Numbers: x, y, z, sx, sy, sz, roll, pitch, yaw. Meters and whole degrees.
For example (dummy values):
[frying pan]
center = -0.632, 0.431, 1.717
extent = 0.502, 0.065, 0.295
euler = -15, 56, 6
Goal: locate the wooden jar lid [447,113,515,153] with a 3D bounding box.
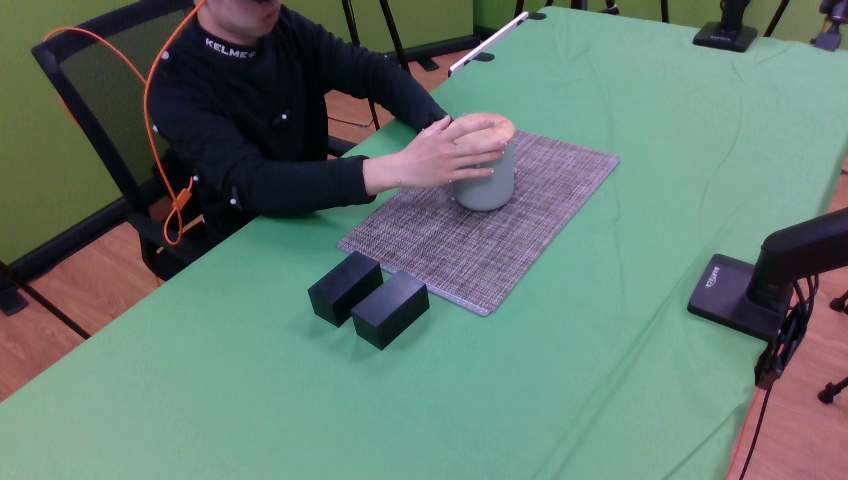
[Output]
[wooden jar lid]
center = 0.091, -0.169, 0.968
extent = 0.108, 0.021, 0.108
euler = -4, 41, 4

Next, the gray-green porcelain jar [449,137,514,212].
[gray-green porcelain jar]
center = 0.097, -0.119, 1.008
extent = 0.106, 0.127, 0.105
euler = -4, 41, 4
